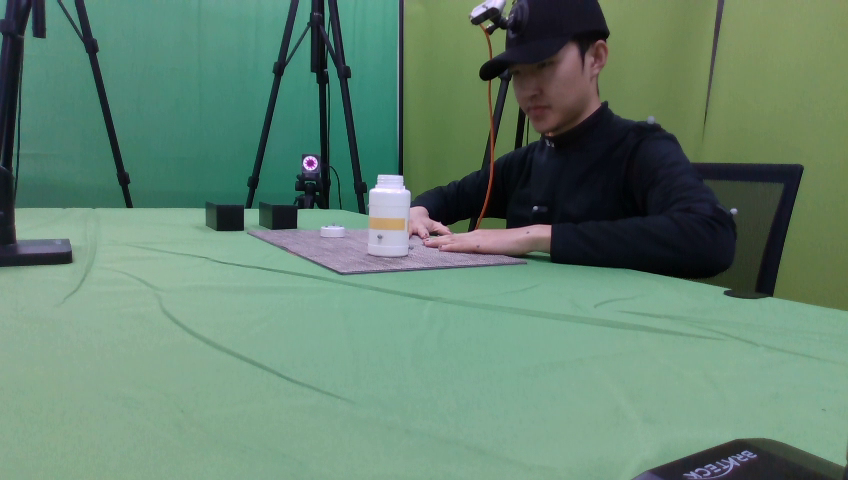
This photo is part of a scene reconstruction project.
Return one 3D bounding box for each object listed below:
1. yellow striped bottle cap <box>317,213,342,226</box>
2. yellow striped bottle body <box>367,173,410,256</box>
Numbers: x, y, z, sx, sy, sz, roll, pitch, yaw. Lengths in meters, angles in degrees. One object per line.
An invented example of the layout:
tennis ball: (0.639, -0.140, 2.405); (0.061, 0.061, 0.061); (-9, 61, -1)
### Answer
yellow striped bottle cap: (-0.171, -0.038, 1.102); (0.044, 0.018, 0.044); (-4, 14, 1)
yellow striped bottle body: (-0.052, -0.040, 0.901); (0.063, 0.120, 0.063); (2, 7, 0)
